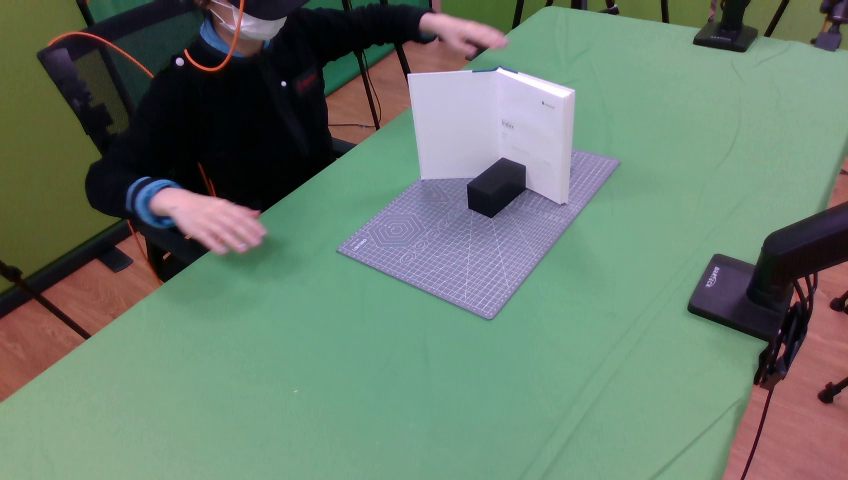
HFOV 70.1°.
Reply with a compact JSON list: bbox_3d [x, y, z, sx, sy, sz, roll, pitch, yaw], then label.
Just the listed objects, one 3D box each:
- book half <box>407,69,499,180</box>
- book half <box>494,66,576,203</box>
[{"bbox_3d":[0.054,-0.191,1.034,0.143,0.211,0.007,-2,42,7],"label":"book half"},{"bbox_3d":[0.179,-0.167,0.988,0.016,0.211,0.147,-36,48,-28],"label":"book half"}]
